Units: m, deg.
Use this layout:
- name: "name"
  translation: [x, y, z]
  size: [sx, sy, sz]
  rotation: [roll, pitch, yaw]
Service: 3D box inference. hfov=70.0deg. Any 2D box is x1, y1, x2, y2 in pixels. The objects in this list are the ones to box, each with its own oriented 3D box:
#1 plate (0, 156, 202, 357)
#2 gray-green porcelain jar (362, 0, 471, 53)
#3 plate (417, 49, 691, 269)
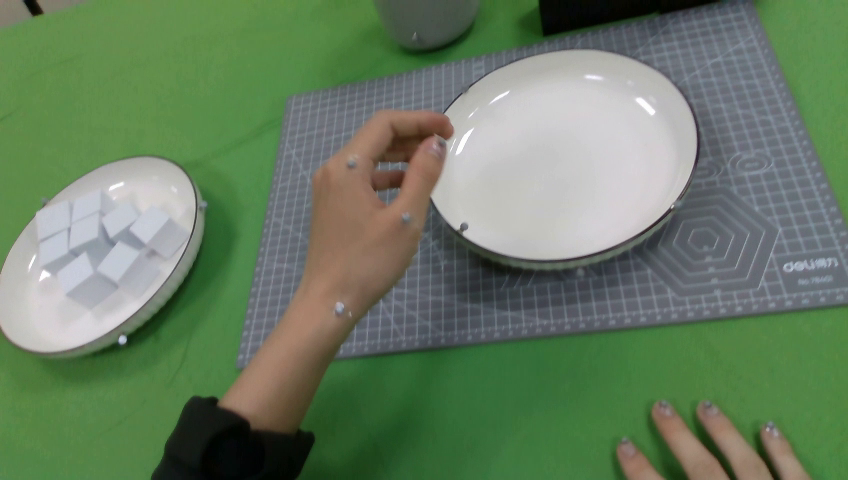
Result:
- name: "plate"
  translation: [-0.296, 0.014, 0.563]
  size: [0.207, 0.039, 0.205]
  rotation: [-8, 57, 13]
- name: "gray-green porcelain jar"
  translation: [-0.014, -0.257, 0.589]
  size: [0.105, 0.128, 0.105]
  rotation: [-9, 56, 13]
- name: "plate"
  translation: [0.098, -0.065, 0.480]
  size: [0.209, 0.038, 0.207]
  rotation: [-9, 56, 13]
